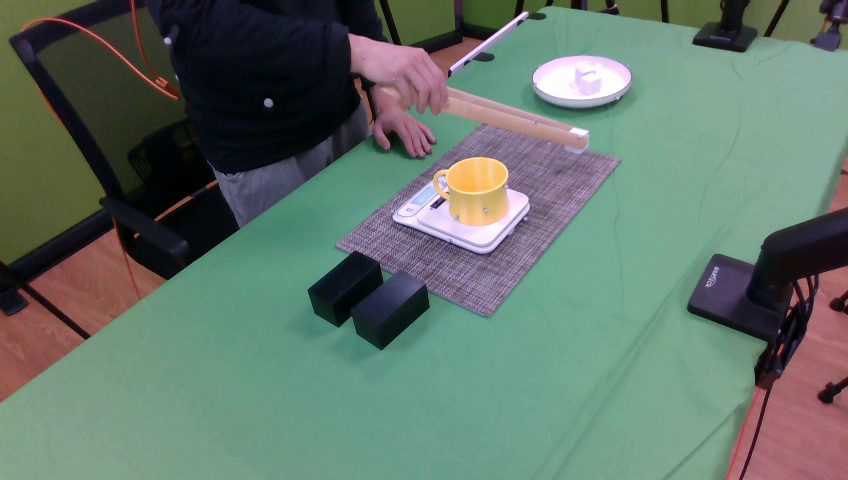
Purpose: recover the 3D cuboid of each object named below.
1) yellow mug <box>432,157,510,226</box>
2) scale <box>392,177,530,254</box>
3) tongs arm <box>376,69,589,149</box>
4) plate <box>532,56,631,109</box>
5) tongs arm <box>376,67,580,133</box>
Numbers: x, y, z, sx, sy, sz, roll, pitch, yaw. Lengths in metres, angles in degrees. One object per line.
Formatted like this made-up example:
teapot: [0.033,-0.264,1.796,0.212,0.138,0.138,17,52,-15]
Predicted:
yellow mug: [0.072,-0.082,0.968,0.130,0.064,0.100,13,45,24]
scale: [0.060,-0.050,1.006,0.199,0.032,0.149,22,48,30]
tongs arm: [0.108,-0.211,0.995,0.388,0.026,0.050,9,34,-27]
plate: [0.336,-0.335,1.301,0.207,0.039,0.206,-4,41,4]
tongs arm: [0.103,-0.225,1.015,0.390,0.028,0.028,11,37,-24]
